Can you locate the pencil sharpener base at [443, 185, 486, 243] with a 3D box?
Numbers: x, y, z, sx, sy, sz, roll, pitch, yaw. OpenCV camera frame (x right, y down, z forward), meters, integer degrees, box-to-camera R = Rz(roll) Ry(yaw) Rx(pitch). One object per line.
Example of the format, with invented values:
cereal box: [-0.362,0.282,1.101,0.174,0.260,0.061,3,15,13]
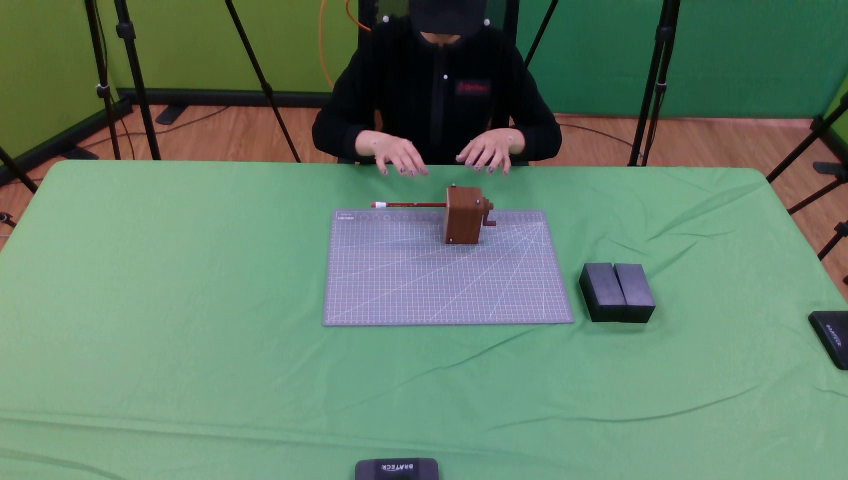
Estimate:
pencil sharpener base: [0.078,-0.049,1.188,0.077,0.107,0.061,1,46,-3]

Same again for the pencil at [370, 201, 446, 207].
pencil: [-0.007,-0.068,1.166,0.194,0.012,0.012,1,46,-1]

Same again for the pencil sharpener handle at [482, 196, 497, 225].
pencil sharpener handle: [0.130,-0.056,1.182,0.031,0.068,0.036,1,43,-3]
